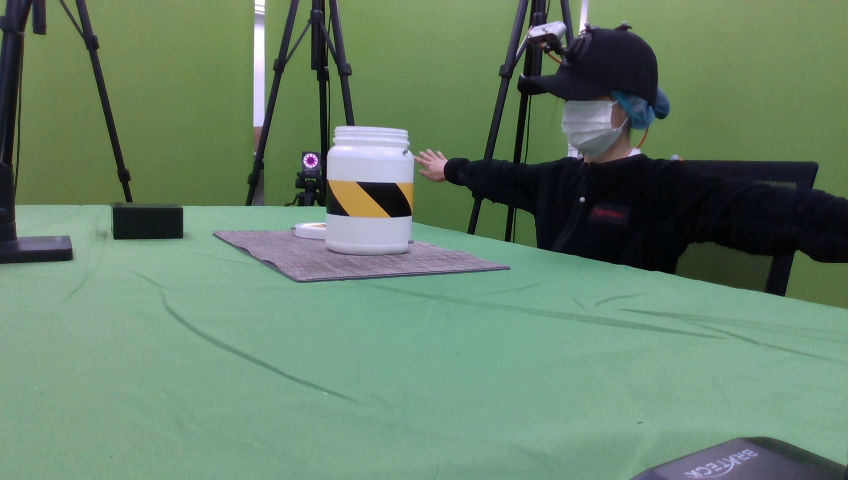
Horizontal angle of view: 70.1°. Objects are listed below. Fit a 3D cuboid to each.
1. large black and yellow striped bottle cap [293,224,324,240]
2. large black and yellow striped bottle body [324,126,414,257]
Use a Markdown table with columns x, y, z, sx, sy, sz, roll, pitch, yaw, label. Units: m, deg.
| x | y | z | sx | sy | sz | roll | pitch | yaw | label |
| --- | --- | --- | --- | --- | --- | --- | --- | --- | --- |
| -0.173 | -0.015 | 1.071 | 0.115 | 0.019 | 0.115 | 2 | 7 | 0 | large black and yellow striped bottle cap |
| -0.082 | -0.074 | 0.904 | 0.131 | 0.184 | 0.130 | 3 | 7 | 0 | large black and yellow striped bottle body |
